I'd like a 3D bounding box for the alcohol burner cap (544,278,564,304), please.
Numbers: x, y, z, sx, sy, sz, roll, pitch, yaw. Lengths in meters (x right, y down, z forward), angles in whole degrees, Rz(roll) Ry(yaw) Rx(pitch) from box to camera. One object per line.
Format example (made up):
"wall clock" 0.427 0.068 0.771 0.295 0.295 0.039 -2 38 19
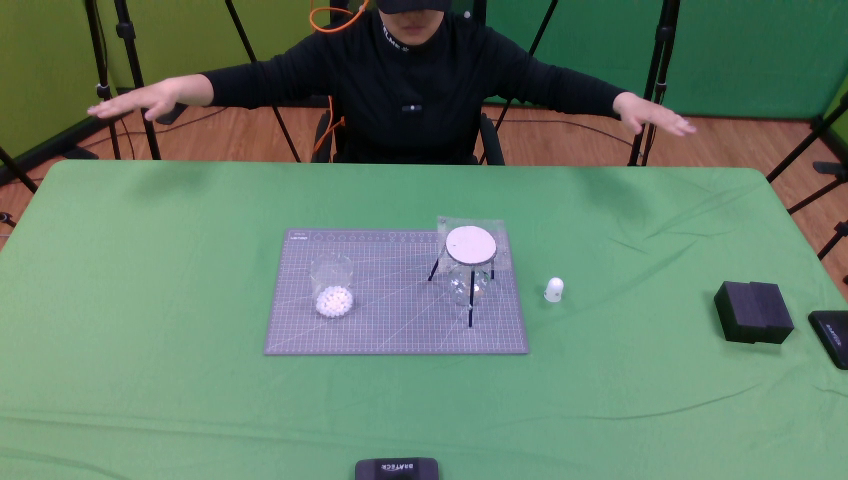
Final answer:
"alcohol burner cap" 0.241 0.090 1.117 0.034 0.048 0.033 2 45 -2

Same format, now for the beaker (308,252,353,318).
"beaker" -0.159 0.080 1.052 0.074 0.101 0.083 11 46 6

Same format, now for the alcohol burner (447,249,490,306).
"alcohol burner" 0.079 0.062 1.078 0.078 0.120 0.077 1 45 -1

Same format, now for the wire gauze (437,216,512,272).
"wire gauze" 0.083 0.006 1.025 0.121 0.011 0.124 2 47 -4

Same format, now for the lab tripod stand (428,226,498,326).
"lab tripod stand" 0.079 0.056 1.070 0.148 0.132 0.147 3 47 -3
